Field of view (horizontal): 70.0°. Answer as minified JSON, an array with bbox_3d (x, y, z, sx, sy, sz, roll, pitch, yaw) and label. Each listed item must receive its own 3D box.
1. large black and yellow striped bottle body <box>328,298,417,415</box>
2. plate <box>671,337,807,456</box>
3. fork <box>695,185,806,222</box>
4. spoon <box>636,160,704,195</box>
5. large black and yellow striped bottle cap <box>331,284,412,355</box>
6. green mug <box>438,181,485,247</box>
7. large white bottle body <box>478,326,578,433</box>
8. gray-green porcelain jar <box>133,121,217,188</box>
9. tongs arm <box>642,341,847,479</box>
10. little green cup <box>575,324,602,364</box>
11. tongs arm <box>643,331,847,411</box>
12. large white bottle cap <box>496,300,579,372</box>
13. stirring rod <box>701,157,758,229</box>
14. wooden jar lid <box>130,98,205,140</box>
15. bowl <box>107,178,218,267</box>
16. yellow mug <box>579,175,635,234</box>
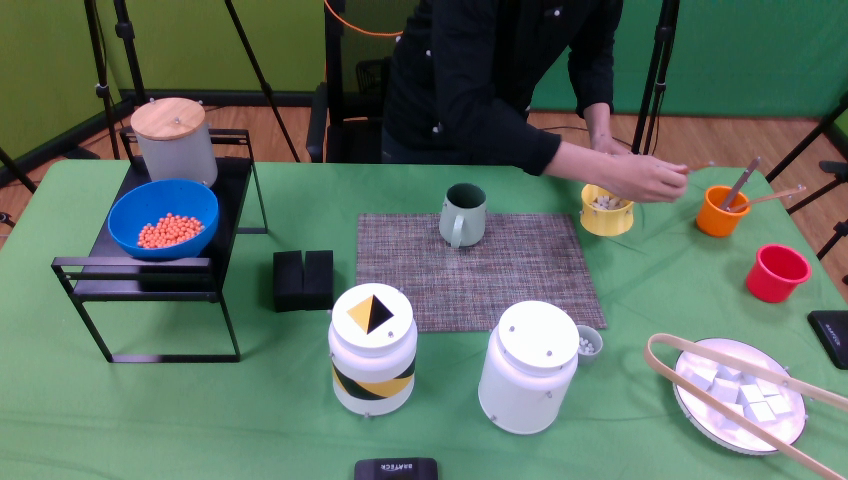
[{"bbox_3d":[-0.078,0.167,0.920,0.131,0.185,0.130,2,46,-2],"label":"large black and yellow striped bottle body"},{"bbox_3d":[0.504,0.254,0.984,0.208,0.039,0.206,2,46,-2],"label":"plate"},{"bbox_3d":[0.658,-0.074,1.229,0.207,0.019,0.028,-23,36,37],"label":"fork"},{"bbox_3d":[0.407,-0.104,1.009,0.041,0.194,0.021,3,77,-5],"label":"spoon"},{"bbox_3d":[-0.073,0.110,0.857,0.115,0.019,0.114,2,46,-2],"label":"large black and yellow striped bottle cap"},{"bbox_3d":[0.071,-0.039,1.177,0.092,0.105,0.124,12,47,7],"label":"green mug"},{"bbox_3d":[0.155,0.192,0.913,0.131,0.185,0.130,2,46,-2],"label":"large white bottle body"},{"bbox_3d":[-0.397,-0.141,0.980,0.106,0.127,0.105,2,47,-2],"label":"gray-green porcelain jar"},{"bbox_3d":[0.504,0.278,0.918,0.386,0.028,0.028,34,59,22],"label":"tongs arm"},{"bbox_3d":[0.269,0.179,1.036,0.061,0.039,0.061,2,46,-2],"label":"little green cup"},{"bbox_3d":[0.546,0.227,0.968,0.384,0.026,0.050,22,52,13],"label":"tongs arm"},{"bbox_3d":[0.160,0.133,0.852,0.115,0.018,0.114,3,46,-3],"label":"large white bottle cap"},{"bbox_3d":[0.634,-0.097,1.257,0.014,0.006,0.176,38,97,29],"label":"stirring rod"},{"bbox_3d":[-0.393,-0.183,0.934,0.108,0.021,0.107,3,43,-2],"label":"wooden jar lid"},{"bbox_3d":[-0.374,-0.014,0.893,0.151,0.077,0.150,2,46,-2],"label":"bowl"},{"bbox_3d":[0.360,-0.078,1.179,0.099,0.064,0.130,19,51,28],"label":"yellow mug"}]
